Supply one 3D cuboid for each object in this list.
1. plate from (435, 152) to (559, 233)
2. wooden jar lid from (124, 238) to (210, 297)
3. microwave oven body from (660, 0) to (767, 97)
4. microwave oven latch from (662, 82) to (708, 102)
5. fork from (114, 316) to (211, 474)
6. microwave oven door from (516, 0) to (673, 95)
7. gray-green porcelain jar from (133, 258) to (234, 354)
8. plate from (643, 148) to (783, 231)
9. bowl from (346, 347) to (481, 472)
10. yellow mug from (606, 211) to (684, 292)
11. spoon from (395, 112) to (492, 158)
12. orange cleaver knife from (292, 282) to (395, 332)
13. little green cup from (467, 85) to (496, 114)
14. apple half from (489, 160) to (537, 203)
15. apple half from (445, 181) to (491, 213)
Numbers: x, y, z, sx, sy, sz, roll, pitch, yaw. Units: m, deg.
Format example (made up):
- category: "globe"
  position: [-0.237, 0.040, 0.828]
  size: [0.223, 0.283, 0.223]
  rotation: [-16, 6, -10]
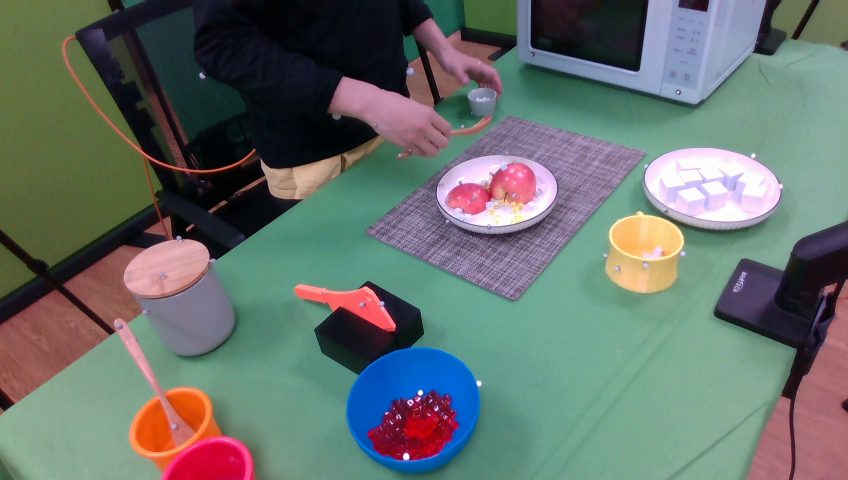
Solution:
- category: "plate"
  position: [0.124, -0.078, 1.026]
  size: [0.209, 0.038, 0.208]
  rotation: [-4, 40, 4]
- category: "wooden jar lid"
  position: [-0.335, 0.039, 0.794]
  size: [0.108, 0.021, 0.108]
  rotation: [-2, 40, 2]
- category: "microwave oven body"
  position: [0.474, -0.516, 1.314]
  size: [0.438, 0.261, 0.327]
  rotation: [26, 51, 34]
- category: "microwave oven latch"
  position: [0.518, -0.298, 1.203]
  size: [0.078, 0.029, 0.030]
  rotation: [28, 53, 35]
- category: "fork"
  position: [-0.309, 0.179, 0.708]
  size: [0.028, 0.018, 0.207]
  rotation: [-30, 89, -25]
- category: "microwave oven door"
  position: [0.344, -0.458, 1.256]
  size: [0.353, 0.245, 0.039]
  rotation: [26, 51, 33]
- category: "gray-green porcelain jar"
  position: [-0.328, 0.086, 0.836]
  size: [0.106, 0.127, 0.105]
  rotation: [-4, 41, 4]
- category: "plate"
  position: [0.464, -0.080, 0.986]
  size: [0.207, 0.039, 0.206]
  rotation: [-4, 41, 4]
- category: "bowl"
  position: [-0.008, 0.205, 0.691]
  size: [0.151, 0.077, 0.150]
  rotation: [-4, 40, 4]
- category: "yellow mug"
  position: [0.318, 0.008, 0.883]
  size: [0.100, 0.064, 0.130]
  rotation: [0, 41, 9]
- category: "spoon"
  position: [0.034, -0.172, 0.988]
  size: [0.195, 0.021, 0.041]
  rotation: [-23, 9, -24]
- category: "orange cleaver knife"
  position: [-0.116, 0.091, 0.835]
  size: [0.209, 0.077, 0.012]
  rotation: [2, 32, 48]
- category: "little green cup"
  position: [0.124, -0.298, 1.284]
  size: [0.061, 0.039, 0.061]
  rotation: [-6, 44, 6]
- category: "apple half"
  position: [0.154, -0.106, 1.030]
  size: [0.080, 0.053, 0.075]
  rotation: [22, 46, 31]
- category: "apple half"
  position: [0.076, -0.083, 1.029]
  size: [0.081, 0.033, 0.081]
  rotation: [-2, 42, 2]
